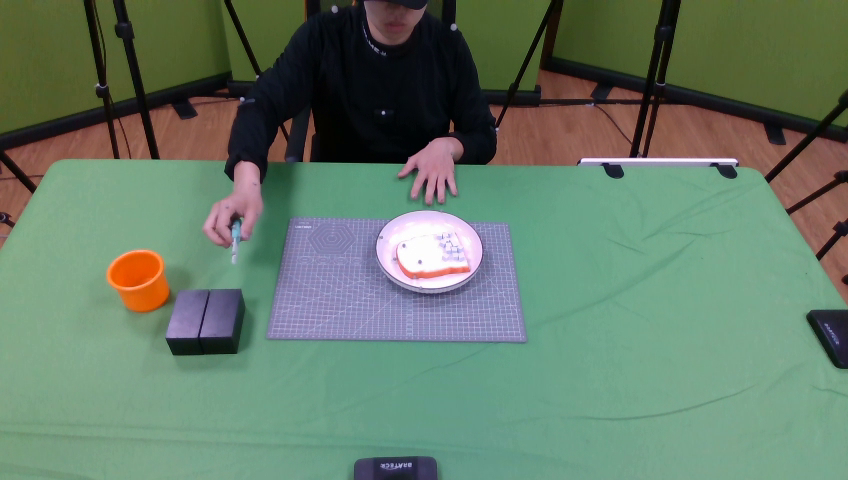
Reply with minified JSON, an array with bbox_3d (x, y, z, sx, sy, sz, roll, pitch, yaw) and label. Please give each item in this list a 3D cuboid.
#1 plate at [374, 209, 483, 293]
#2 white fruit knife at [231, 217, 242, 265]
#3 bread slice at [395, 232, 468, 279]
[{"bbox_3d":[0.009,0.024,1.160,0.209,0.038,0.208,2,46,-2],"label":"plate"},{"bbox_3d":[-0.319,0.000,1.029,0.016,0.027,0.206,-10,22,-12],"label":"white fruit knife"},{"bbox_3d":[0.011,0.030,1.158,0.132,0.019,0.104,-8,47,-14],"label":"bread slice"}]
